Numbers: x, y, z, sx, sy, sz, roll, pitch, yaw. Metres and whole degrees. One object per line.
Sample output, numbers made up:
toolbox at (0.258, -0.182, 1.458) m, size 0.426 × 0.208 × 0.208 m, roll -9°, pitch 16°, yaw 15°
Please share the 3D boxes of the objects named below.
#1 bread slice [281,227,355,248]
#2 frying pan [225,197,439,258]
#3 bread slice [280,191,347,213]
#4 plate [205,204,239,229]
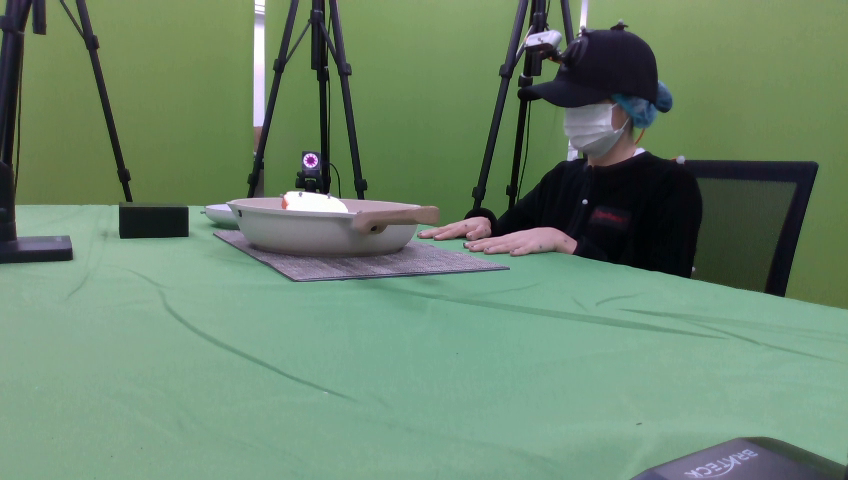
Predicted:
bread slice at (-0.170, -0.005, 0.943) m, size 0.107 × 0.018 × 0.134 m, roll 2°, pitch 7°, yaw -15°
frying pan at (-0.103, -0.027, 0.845) m, size 0.308 × 0.102 × 0.486 m, roll -1°, pitch 0°, yaw -25°
bread slice at (-0.171, -0.049, 0.934) m, size 0.105 × 0.019 × 0.131 m, roll 7°, pitch 17°, yaw -20°
plate at (-0.324, -0.046, 1.199) m, size 0.208 × 0.039 × 0.207 m, roll 3°, pitch 7°, yaw 0°
